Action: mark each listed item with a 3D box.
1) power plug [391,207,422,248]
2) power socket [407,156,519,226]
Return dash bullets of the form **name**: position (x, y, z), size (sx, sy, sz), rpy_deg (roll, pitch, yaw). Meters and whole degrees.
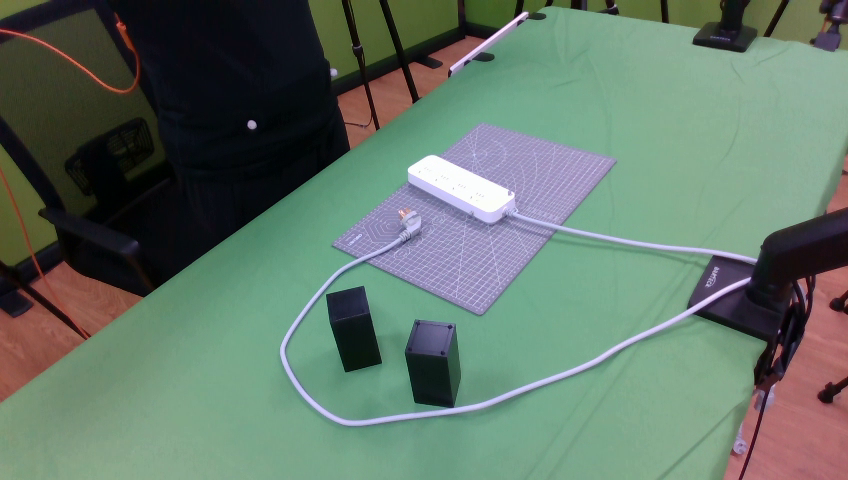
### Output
- **power plug**: position (-0.035, -0.026, 0.985), size (0.073, 0.035, 0.052), rpy_deg (-24, 61, -35)
- **power socket**: position (0.062, -0.089, 1.053), size (0.072, 0.033, 0.225), rpy_deg (-36, 49, -29)
